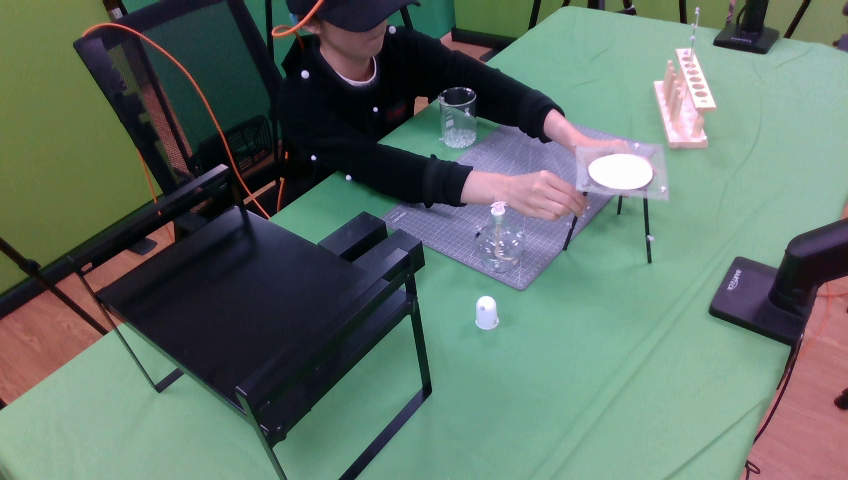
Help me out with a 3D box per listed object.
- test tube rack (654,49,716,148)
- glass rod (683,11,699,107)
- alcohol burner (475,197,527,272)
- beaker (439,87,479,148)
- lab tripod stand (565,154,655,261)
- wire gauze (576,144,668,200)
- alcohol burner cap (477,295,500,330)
[{"bbox_3d":[0.502,-0.280,1.176,0.066,0.085,0.241,1,41,11],"label":"test tube rack"},{"bbox_3d":[0.501,-0.335,1.138,0.008,0.201,0.008,-7,45,7],"label":"glass rod"},{"bbox_3d":[0.113,-0.012,0.897,0.078,0.119,0.077,-6,40,6],"label":"alcohol burner"},{"bbox_3d":[0.072,-0.239,1.184,0.073,0.101,0.084,29,52,35],"label":"beaker"},{"bbox_3d":[0.285,-0.048,0.901,0.148,0.132,0.147,-5,43,5],"label":"lab tripod stand"},{"bbox_3d":[0.279,-0.101,0.861,0.125,0.011,0.121,4,43,13],"label":"wire gauze"},{"bbox_3d":[0.089,0.097,0.833,0.034,0.048,0.033,-4,42,4],"label":"alcohol burner cap"}]
